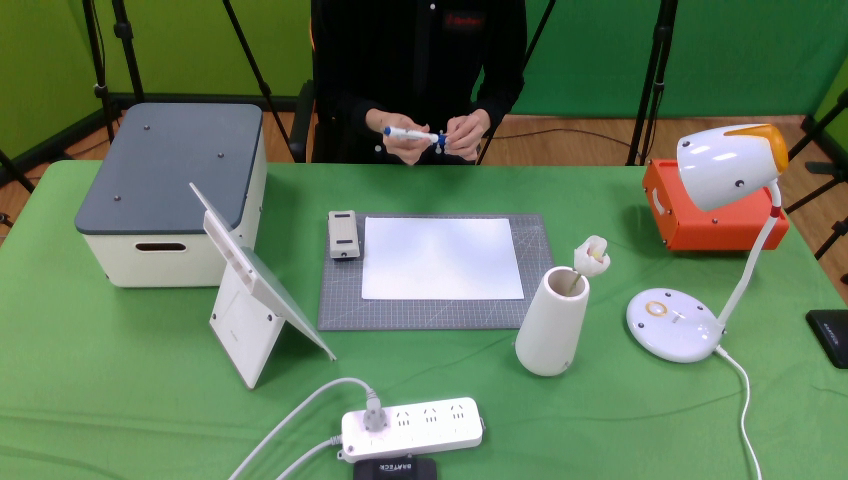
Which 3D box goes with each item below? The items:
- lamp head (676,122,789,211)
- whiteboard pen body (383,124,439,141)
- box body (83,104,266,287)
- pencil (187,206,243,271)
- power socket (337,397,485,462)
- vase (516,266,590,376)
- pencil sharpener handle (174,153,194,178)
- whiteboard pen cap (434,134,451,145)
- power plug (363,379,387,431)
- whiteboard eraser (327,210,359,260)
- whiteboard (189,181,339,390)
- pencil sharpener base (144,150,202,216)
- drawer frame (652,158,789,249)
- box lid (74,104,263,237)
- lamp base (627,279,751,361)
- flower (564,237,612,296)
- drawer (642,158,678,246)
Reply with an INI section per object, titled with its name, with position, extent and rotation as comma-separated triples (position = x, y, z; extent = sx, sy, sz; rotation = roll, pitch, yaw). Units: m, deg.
[lamp head]
position = 0.423, -0.104, 0.819
extent = 0.122, 0.113, 0.112
rotation = -13, 33, 40
[whiteboard pen body]
position = -0.013, -0.186, 1.061
extent = 0.141, 0.017, 0.017
rotation = 2, 39, -42
[box body]
position = -0.447, -0.088, 1.150
extent = 0.254, 0.161, 0.361
rotation = -1, 46, -5
[pencil]
position = -0.401, -0.009, 1.176
extent = 0.012, 0.012, 0.193
rotation = 15, 45, 10
[power socket]
position = -0.018, 0.285, 0.915
extent = 0.227, 0.033, 0.071
rotation = -5, 46, -8
[vase]
position = 0.208, 0.132, 0.964
extent = 0.098, 0.201, 0.097
rotation = 3, 46, -3
[pencil sharpener handle]
position = -0.479, -0.156, 1.225
extent = 0.036, 0.068, 0.030
rotation = 24, 48, 2
[whiteboard pen cap]
position = 0.032, -0.183, 1.101
extent = 0.033, 0.018, 0.018
rotation = 2, 39, -42
[power plug]
position = -0.072, 0.252, 0.910
extent = 0.035, 0.053, 0.072
rotation = 3, 45, -1
[whiteboard eraser]
position = -0.158, -0.009, 1.177
extent = 0.055, 0.042, 0.112
rotation = -6, 47, -7
[whiteboard]
position = -0.292, 0.096, 0.929
extent = 0.144, 0.307, 0.216
rotation = -37, 57, -10
[pencil sharpener base]
position = -0.493, -0.113, 1.199
extent = 0.061, 0.107, 0.076
rotation = 15, 47, 11
[drawer frame]
position = 0.571, -0.075, 1.214
extent = 0.214, 0.083, 0.200
rotation = 0, 45, -1
[box lid]
position = -0.443, -0.139, 1.095
extent = 0.263, 0.015, 0.369
rotation = -1, 45, -5
[lamp base]
position = 0.459, 0.100, 1.027
extent = 0.178, 0.181, 0.160
rotation = 27, 51, 17
[flower]
position = 0.206, 0.088, 0.893
extent = 0.038, 0.363, 0.044
rotation = -17, 67, -9
[drawer]
position = 0.565, -0.076, 1.211
extent = 0.212, 0.073, 0.193
rotation = 2, 45, -2
